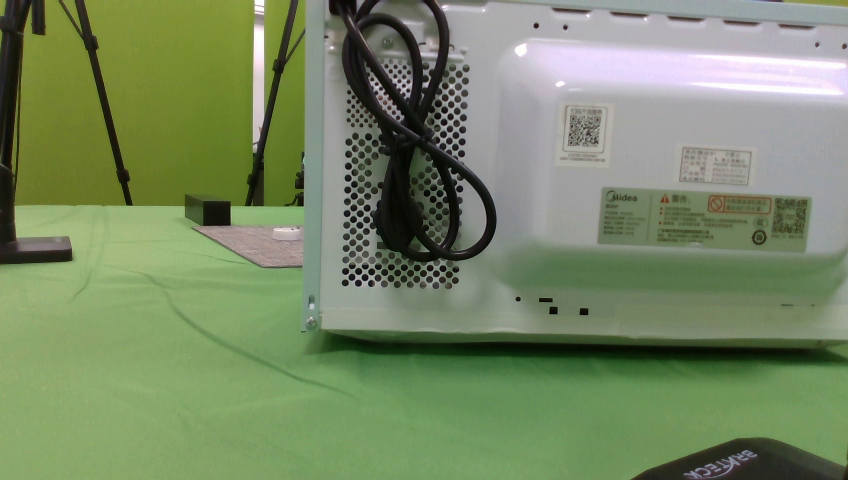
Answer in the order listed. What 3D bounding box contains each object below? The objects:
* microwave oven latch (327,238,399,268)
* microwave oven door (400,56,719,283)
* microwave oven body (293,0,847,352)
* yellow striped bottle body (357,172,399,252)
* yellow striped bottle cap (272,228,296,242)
[{"bbox_3d":[-0.069,0.015,0.694,0.079,0.029,0.030,3,7,-3],"label":"microwave oven latch"},{"bbox_3d":[0.155,-0.078,0.698,0.356,0.243,0.039,2,8,-5],"label":"microwave oven door"},{"bbox_3d":[0.122,-0.055,0.550,0.442,0.260,0.325,3,7,-5],"label":"microwave oven body"},{"bbox_3d":[-0.071,-0.044,0.933,0.063,0.120,0.063,3,8,0],"label":"yellow striped bottle body"},{"bbox_3d":[-0.232,-0.008,1.012,0.044,0.018,0.044,4,8,0],"label":"yellow striped bottle cap"}]
